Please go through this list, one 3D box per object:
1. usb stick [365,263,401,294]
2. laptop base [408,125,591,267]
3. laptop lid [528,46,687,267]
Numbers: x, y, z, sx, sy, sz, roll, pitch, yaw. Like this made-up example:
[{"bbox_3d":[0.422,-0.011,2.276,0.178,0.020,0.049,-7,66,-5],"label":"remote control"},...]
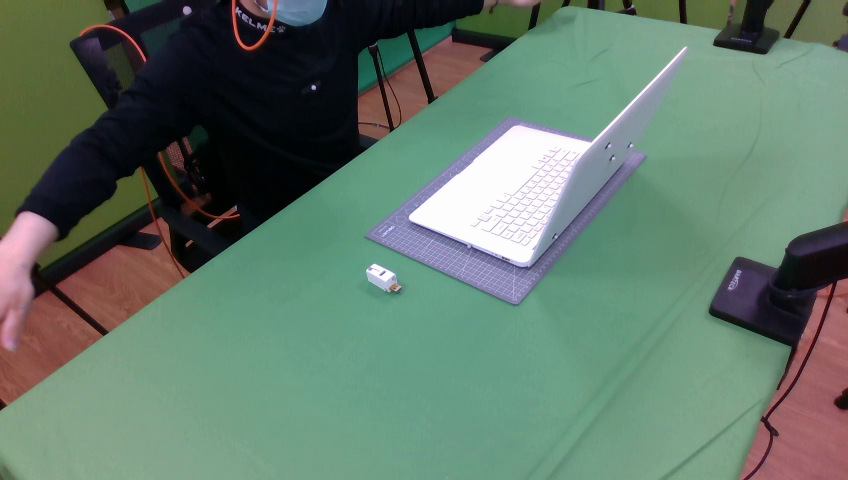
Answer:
[{"bbox_3d":[-0.059,0.060,0.903,0.058,0.027,0.021,28,51,30],"label":"usb stick"},{"bbox_3d":[0.168,-0.092,1.053,0.233,0.023,0.355,21,47,33],"label":"laptop base"},{"bbox_3d":[0.277,-0.126,0.903,0.013,0.242,0.358,35,53,17],"label":"laptop lid"}]
